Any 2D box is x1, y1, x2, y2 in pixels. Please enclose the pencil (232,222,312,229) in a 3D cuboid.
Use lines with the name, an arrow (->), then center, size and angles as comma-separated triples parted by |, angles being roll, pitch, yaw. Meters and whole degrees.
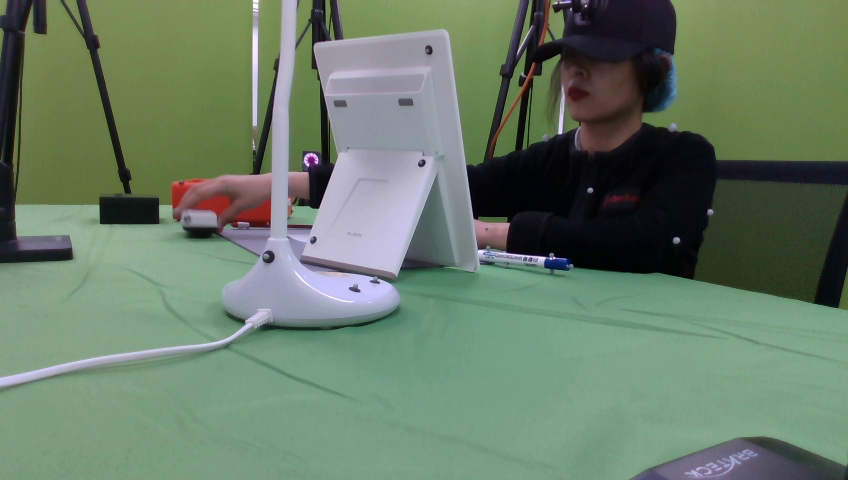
pencil -> -0.261, -0.025, 1.140 | 0.195, 0.012, 0.012 | 1, 7, -26

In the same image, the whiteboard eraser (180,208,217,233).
whiteboard eraser -> -0.375, -0.033, 1.011 | 0.056, 0.042, 0.112 | 7, -1, -20

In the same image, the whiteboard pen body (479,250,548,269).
whiteboard pen body -> 0.130, 0.028, 0.827 | 0.140, 0.017, 0.017 | 6, 8, 38

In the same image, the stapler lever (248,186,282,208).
stapler lever -> -0.341, -0.092, 1.308 | 0.027, 0.040, 0.118 | 19, 4, 12

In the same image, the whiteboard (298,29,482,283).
whiteboard -> -0.075, -0.082, 0.742 | 0.216, 0.305, 0.144 | 9, 29, 37

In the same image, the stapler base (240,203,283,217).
stapler base -> -0.349, -0.066, 1.309 | 0.041, 0.024, 0.131 | 19, 6, 12

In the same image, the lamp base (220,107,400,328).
lamp base -> -0.101, -0.023, 0.531 | 0.160, 0.180, 0.179 | 4, 10, 10

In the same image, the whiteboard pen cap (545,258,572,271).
whiteboard pen cap -> 0.175, 0.032, 0.791 | 0.033, 0.018, 0.018 | 3, 6, 37

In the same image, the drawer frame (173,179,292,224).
drawer frame -> -0.400, -0.086, 1.300 | 0.214, 0.082, 0.201 | 1, 8, -8

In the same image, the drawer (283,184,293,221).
drawer -> -0.396, -0.084, 1.301 | 0.212, 0.073, 0.194 | 1, 8, -7
